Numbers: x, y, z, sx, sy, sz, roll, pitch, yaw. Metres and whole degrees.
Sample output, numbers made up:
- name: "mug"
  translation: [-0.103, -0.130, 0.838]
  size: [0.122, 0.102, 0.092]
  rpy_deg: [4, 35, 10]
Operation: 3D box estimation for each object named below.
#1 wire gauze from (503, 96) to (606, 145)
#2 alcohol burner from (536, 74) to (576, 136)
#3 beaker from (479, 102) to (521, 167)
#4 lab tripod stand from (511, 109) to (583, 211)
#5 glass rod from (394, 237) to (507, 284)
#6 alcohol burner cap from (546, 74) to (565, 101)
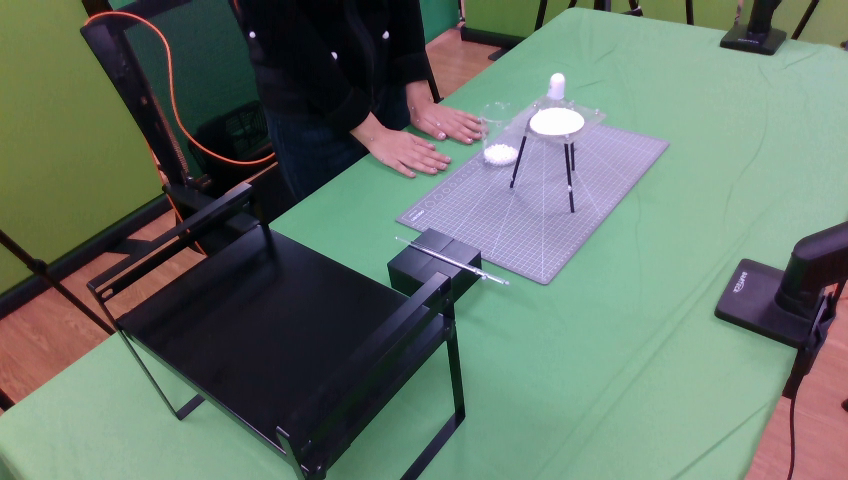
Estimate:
- name: "wire gauze"
  translation: [0.211, -0.192, 0.975]
  size: [0.120, 0.011, 0.125]
  rpy_deg: [24, 49, 32]
- name: "alcohol burner"
  translation: [0.256, -0.264, 1.173]
  size: [0.078, 0.119, 0.077]
  rpy_deg: [-6, 40, 5]
- name: "beaker"
  translation: [0.143, -0.195, 1.120]
  size: [0.074, 0.101, 0.084]
  rpy_deg: [3, 41, 12]
- name: "lab tripod stand"
  translation: [0.220, -0.138, 1.014]
  size: [0.148, 0.132, 0.147]
  rpy_deg: [-3, 41, 3]
- name: "glass rod"
  translation: [0.033, 0.028, 0.875]
  size: [0.198, 0.008, 0.008]
  rpy_deg: [21, 48, 31]
- name: "alcohol burner cap"
  translation: [0.251, -0.292, 1.150]
  size: [0.034, 0.048, 0.033]
  rpy_deg: [0, 41, 0]
